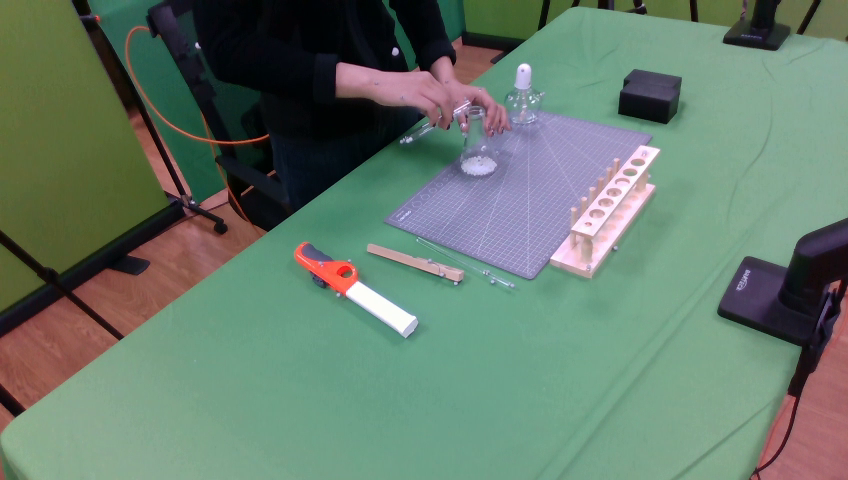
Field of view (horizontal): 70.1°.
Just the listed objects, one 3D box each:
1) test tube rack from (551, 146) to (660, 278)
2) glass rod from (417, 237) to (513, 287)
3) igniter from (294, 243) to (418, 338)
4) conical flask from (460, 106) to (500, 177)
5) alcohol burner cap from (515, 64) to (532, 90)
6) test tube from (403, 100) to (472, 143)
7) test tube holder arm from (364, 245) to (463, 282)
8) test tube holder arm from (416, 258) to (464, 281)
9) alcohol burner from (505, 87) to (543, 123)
[{"bbox_3d":[0.286,-0.053,0.943,0.066,0.085,0.243,21,49,32],"label":"test tube rack"},{"bbox_3d":[0.059,0.032,0.944,0.198,0.008,0.008,26,52,38],"label":"glass rod"},{"bbox_3d":[-0.114,0.070,0.919,0.274,0.025,0.057,29,63,37],"label":"igniter"},{"bbox_3d":[0.097,-0.181,1.098,0.075,0.122,0.075,-6,40,5],"label":"conical flask"},{"bbox_3d":[0.199,-0.324,1.198,0.034,0.048,0.033,0,45,1],"label":"alcohol burner cap"},{"bbox_3d":[0.024,-0.198,1.008,0.151,0.017,0.017,-34,46,-28],"label":"test tube"},{"bbox_3d":[-0.020,0.035,0.947,0.177,0.015,0.013,16,10,26],"label":"test tube holder arm"},{"bbox_3d":[0.022,0.045,0.931,0.087,0.015,0.010,16,10,28],"label":"test tube holder arm"},{"bbox_3d":[0.202,-0.298,1.222,0.078,0.119,0.077,-4,40,4],"label":"alcohol burner"}]
